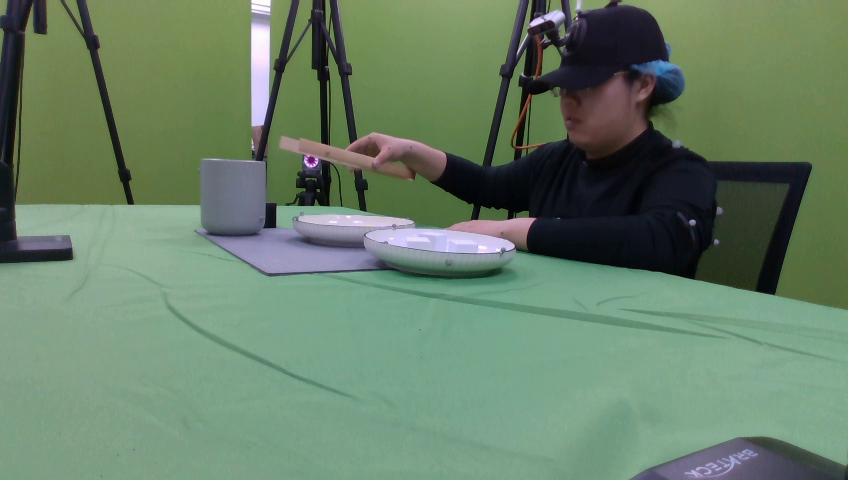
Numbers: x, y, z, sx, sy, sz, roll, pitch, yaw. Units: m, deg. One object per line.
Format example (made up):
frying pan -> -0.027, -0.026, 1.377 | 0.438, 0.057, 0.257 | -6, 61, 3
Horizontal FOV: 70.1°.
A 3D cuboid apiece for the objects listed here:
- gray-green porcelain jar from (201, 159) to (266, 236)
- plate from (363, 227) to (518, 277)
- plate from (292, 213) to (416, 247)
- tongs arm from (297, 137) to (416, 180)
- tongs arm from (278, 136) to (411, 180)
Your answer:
gray-green porcelain jar -> -0.326, -0.073, 1.036 | 0.106, 0.126, 0.106 | 3, 8, 0
plate -> 0.022, 0.016, 0.817 | 0.209, 0.038, 0.209 | 3, 9, 0
plate -> -0.118, -0.017, 1.024 | 0.208, 0.039, 0.207 | 2, 7, 0
tongs arm -> -0.128, -0.170, 1.303 | 0.028, 0.027, 0.390 | 4, -2, 35
tongs arm -> -0.156, -0.175, 1.324 | 0.050, 0.026, 0.387 | 8, 0, 34
